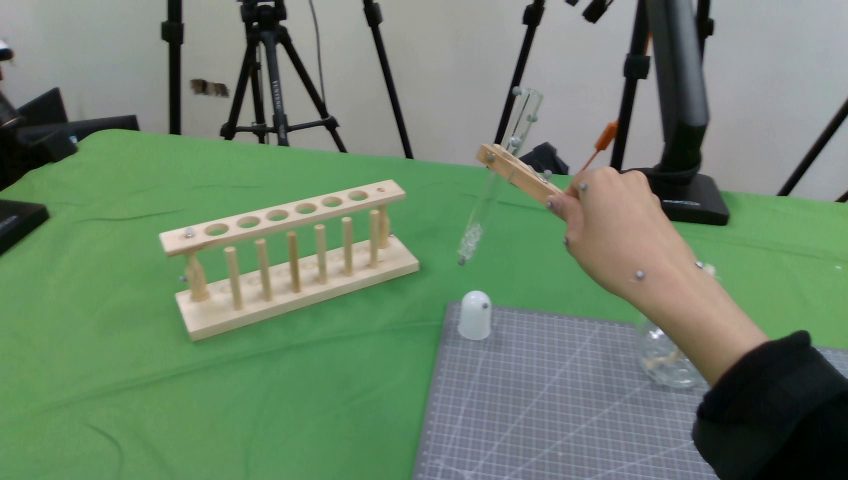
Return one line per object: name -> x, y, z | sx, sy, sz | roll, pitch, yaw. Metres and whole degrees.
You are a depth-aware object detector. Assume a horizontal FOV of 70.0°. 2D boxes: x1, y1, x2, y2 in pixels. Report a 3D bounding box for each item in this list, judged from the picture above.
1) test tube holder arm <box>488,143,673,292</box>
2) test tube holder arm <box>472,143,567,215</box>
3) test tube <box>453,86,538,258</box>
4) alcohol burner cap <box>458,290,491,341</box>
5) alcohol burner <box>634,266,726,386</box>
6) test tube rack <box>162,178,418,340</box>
test tube holder arm -> 0.105, -0.023, 0.439 | 0.013, 0.015, 0.176 | -11, 43, -43
test tube holder arm -> 0.072, -0.047, 0.458 | 0.087, 0.015, 0.010 | 38, 33, 26
test tube -> 0.054, -0.049, 0.479 | 0.017, 0.151, 0.017 | 17, 27, -8
alcohol burner cap -> 0.050, 0.069, 0.580 | 0.034, 0.048, 0.033 | 2, 35, -1
alcohol burner -> 0.227, 0.069, 0.527 | 0.078, 0.120, 0.077 | 2, 36, -1
test tube rack -> -0.126, 0.013, 0.619 | 0.243, 0.086, 0.066 | -16, 38, -25
